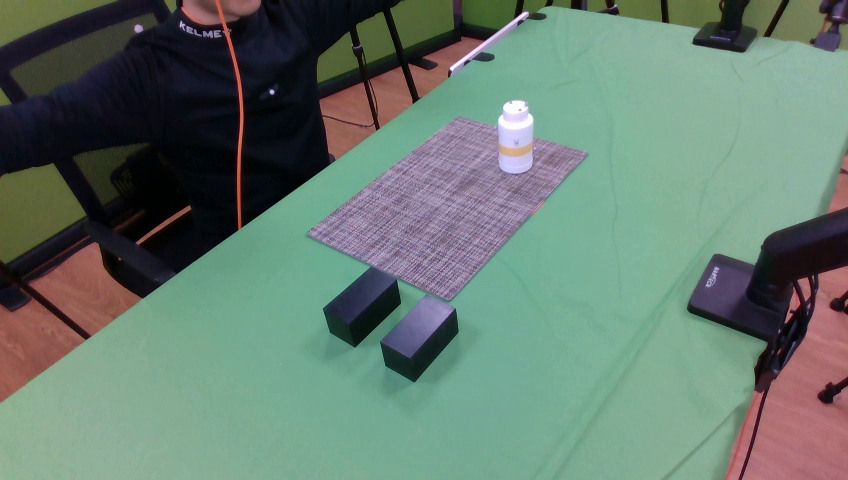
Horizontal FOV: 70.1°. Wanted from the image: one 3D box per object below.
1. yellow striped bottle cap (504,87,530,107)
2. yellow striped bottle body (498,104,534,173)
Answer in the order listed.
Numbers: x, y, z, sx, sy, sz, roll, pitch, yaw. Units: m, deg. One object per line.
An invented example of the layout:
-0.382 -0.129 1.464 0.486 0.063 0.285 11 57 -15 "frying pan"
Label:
0.159 -0.244 1.033 0.044 0.019 0.044 -7 34 5 "yellow striped bottle cap"
0.164 -0.186 1.079 0.063 0.121 0.062 -4 41 4 "yellow striped bottle body"
